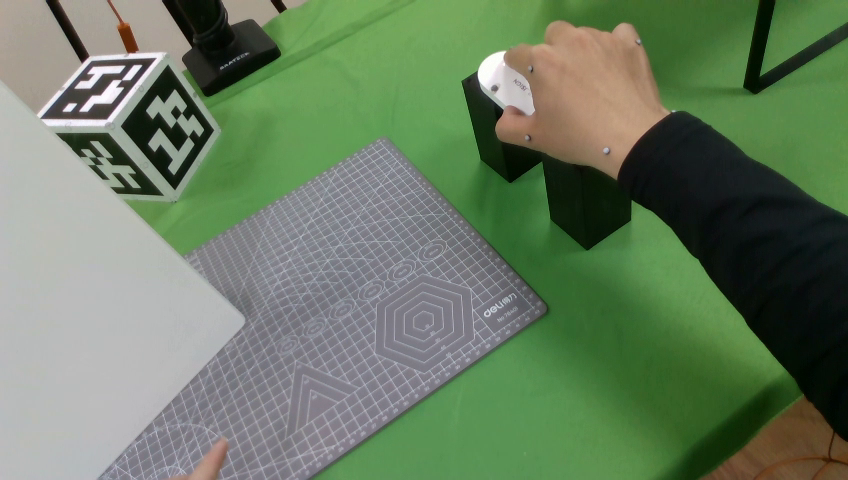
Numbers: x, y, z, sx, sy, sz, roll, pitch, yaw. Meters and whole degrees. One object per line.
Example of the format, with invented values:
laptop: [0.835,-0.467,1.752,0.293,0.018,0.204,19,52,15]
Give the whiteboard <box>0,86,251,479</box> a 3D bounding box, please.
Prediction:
whiteboard: [-0.342,0.041,0.498,0.142,0.308,0.216,14,57,50]

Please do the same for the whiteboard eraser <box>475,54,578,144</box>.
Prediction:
whiteboard eraser: [0.081,-0.116,0.492,0.041,0.019,0.100,-39,61,-5]
